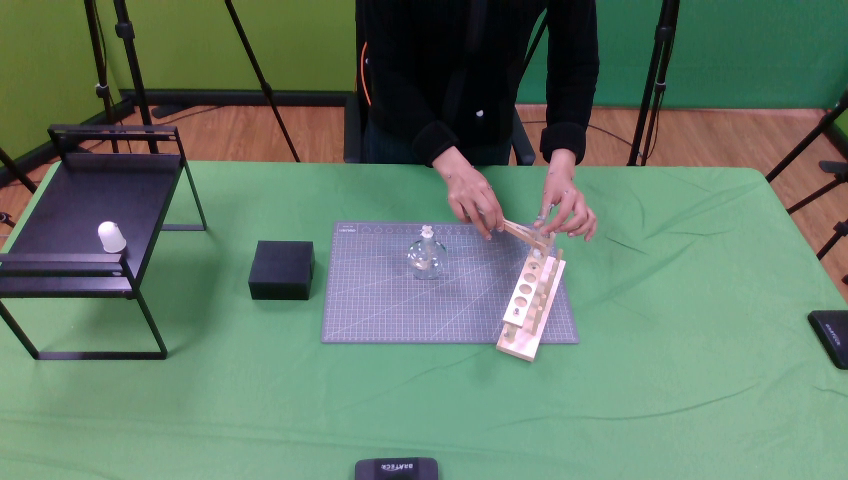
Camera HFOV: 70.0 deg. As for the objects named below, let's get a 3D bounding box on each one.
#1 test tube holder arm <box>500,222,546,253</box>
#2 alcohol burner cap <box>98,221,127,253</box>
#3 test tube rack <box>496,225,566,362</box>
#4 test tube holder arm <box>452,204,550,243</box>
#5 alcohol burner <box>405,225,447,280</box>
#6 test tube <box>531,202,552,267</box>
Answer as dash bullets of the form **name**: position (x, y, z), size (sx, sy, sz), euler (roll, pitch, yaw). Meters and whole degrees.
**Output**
- **test tube holder arm**: position (0.173, -0.006, 1.063), size (0.087, 0.015, 0.010), euler (35, 56, 13)
- **alcohol burner cap**: position (-0.468, -0.007, 0.904), size (0.034, 0.048, 0.033), euler (3, 46, -3)
- **test tube rack**: position (0.200, 0.089, 1.081), size (0.066, 0.085, 0.241), euler (19, 48, 13)
- **test tube holder arm**: position (0.136, -0.029, 1.070), size (0.178, 0.015, 0.013), euler (20, 53, 2)
- **alcohol burner**: position (0.004, 0.017, 1.115), size (0.078, 0.120, 0.077), euler (1, 47, -1)
- **test tube**: position (0.202, -0.006, 1.053), size (0.017, 0.151, 0.017), euler (1, 46, 0)
